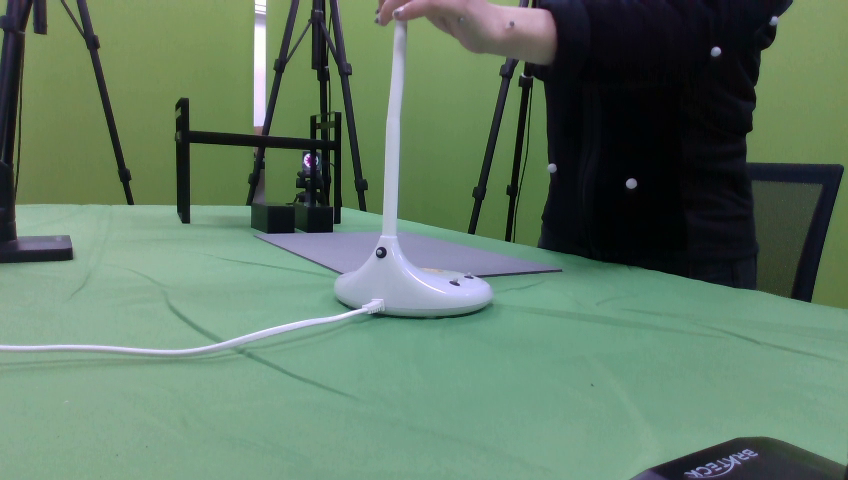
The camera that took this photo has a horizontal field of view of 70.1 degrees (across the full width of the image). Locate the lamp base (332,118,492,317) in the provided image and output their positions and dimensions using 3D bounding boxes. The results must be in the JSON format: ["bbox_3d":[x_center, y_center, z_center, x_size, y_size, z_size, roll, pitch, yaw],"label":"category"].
[{"bbox_3d":[-0.012,-0.025,0.585,0.160,0.180,0.179,4,10,15],"label":"lamp base"}]
